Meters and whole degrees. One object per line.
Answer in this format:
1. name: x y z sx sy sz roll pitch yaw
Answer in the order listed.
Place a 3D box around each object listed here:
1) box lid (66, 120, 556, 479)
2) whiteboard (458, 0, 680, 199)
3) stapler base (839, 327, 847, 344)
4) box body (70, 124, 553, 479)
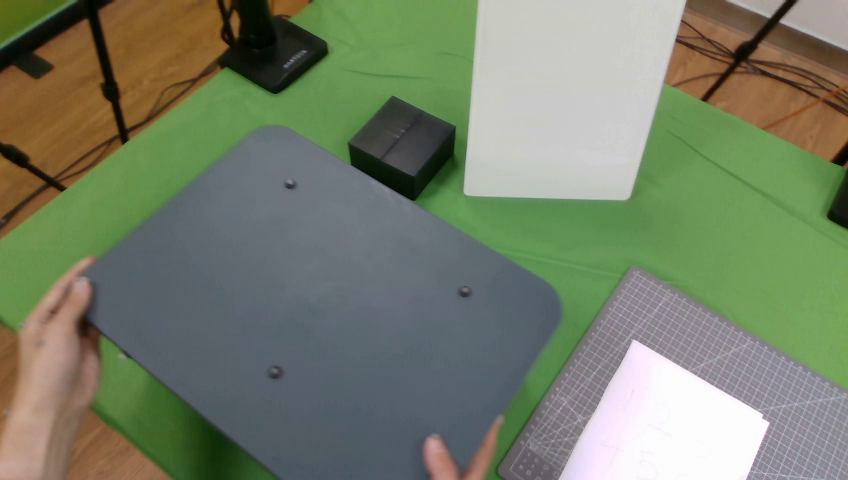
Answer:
1. box lid: -0.097 0.048 0.531 0.369 0.015 0.262 32 62 15
2. whiteboard: 0.158 -0.218 0.741 0.217 0.308 0.142 2 39 0
3. stapler base: 0.515 0.143 0.654 0.041 0.024 0.129 -22 62 -15
4. box body: -0.097 0.087 0.595 0.362 0.161 0.253 31 63 16
